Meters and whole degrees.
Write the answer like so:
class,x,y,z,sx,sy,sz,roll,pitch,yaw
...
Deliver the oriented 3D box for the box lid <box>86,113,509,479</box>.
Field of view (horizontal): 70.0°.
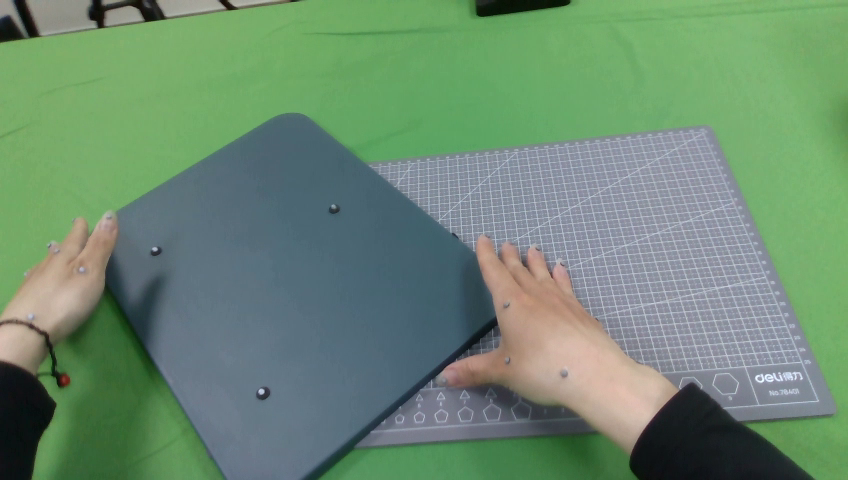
class,x,y,z,sx,sy,sz,roll,pitch,yaw
box lid,-0.131,0.023,0.552,0.263,0.015,0.367,-37,55,-19
